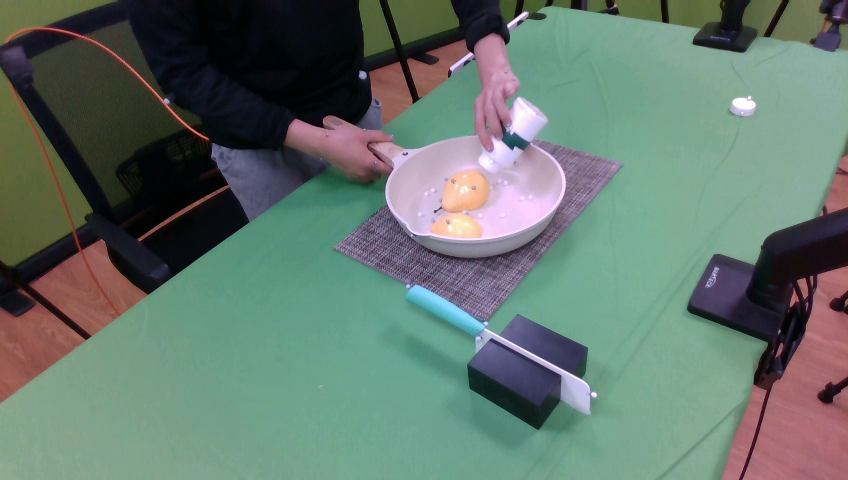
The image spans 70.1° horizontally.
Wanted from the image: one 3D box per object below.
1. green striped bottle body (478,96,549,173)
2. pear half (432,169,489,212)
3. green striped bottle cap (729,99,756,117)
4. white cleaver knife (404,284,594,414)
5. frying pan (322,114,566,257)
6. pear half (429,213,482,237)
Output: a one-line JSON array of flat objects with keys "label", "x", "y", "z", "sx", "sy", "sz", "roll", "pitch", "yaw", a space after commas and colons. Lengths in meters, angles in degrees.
[{"label": "green striped bottle body", "x": 0.138, "y": -0.165, "z": 0.967, "sx": 0.063, "sy": 0.119, "sz": 0.063, "roll": 33, "pitch": 24, "yaw": -16}, {"label": "pear half", "x": 0.057, "y": -0.084, "z": 1.023, "sx": 0.110, "sy": 0.056, "sz": 0.075, "roll": -34, "pitch": 42, "yaw": -24}, {"label": "green striped bottle cap", "x": 0.623, "y": -0.259, "z": 1.182, "sx": 0.044, "sy": 0.020, "sz": 0.044, "roll": -3, "pitch": 40, "yaw": 3}, {"label": "white cleaver knife", "x": 0.084, "y": 0.135, "z": 0.764, "sx": 0.284, "sy": 0.066, "sz": 0.021, "roll": 28, "pitch": 46, "yaw": 31}, {"label": "frying pan", "x": 0.004, "y": -0.121, "z": 1.039, "sx": 0.484, "sy": 0.103, "sz": 0.308, "roll": 31, "pitch": 52, "yaw": 25}, {"label": "pear half", "x": 0.049, "y": -0.024, "z": 0.973, "sx": 0.087, "sy": 0.031, "sz": 0.070, "roll": 14, "pitch": 41, "yaw": 18}]
